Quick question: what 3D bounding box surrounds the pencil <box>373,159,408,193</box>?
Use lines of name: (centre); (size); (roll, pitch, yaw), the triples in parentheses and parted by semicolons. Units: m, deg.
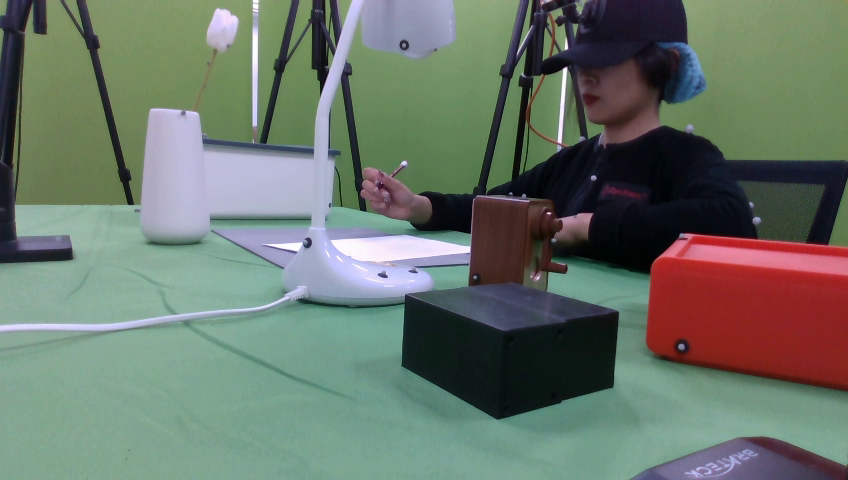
pencil: (-0.063, -0.124, 1.158); (0.012, 0.012, 0.194); (4, 25, 16)

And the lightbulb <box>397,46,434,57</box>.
lightbulb: (-0.017, -0.264, 0.692); (0.059, 0.108, 0.059); (-9, 29, 5)

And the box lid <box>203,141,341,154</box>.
box lid: (-0.396, -0.212, 1.373); (0.373, 0.015, 0.262); (-1, 9, -29)

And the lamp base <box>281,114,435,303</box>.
lamp base: (-0.071, -0.035, 0.614); (0.160, 0.180, 0.180); (6, 10, 27)

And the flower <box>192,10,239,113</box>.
flower: (-0.354, -0.174, 0.915); (0.038, 0.361, 0.044); (18, -3, 12)

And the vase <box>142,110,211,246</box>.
vase: (-0.378, -0.093, 0.920); (0.098, 0.200, 0.098); (2, 9, 0)

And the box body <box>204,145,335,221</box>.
box body: (-0.411, -0.135, 1.386); (0.366, 0.160, 0.253); (-2, 9, -29)

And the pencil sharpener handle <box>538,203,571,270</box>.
pencil sharpener handle: (0.137, -0.003, 0.619); (0.030, 0.067, 0.036); (8, 6, 38)

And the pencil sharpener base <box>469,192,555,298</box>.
pencil sharpener base: (0.097, 0.003, 0.652); (0.076, 0.107, 0.061); (8, 9, 38)

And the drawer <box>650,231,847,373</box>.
drawer: (0.303, 0.044, 0.499); (0.194, 0.073, 0.212); (7, 9, 27)

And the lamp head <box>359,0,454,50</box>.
lamp head: (-0.024, -0.283, 0.674); (0.112, 0.123, 0.112); (-3, 38, 3)

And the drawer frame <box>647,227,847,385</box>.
drawer frame: (0.303, 0.043, 0.495); (0.201, 0.082, 0.214); (6, 9, 26)
